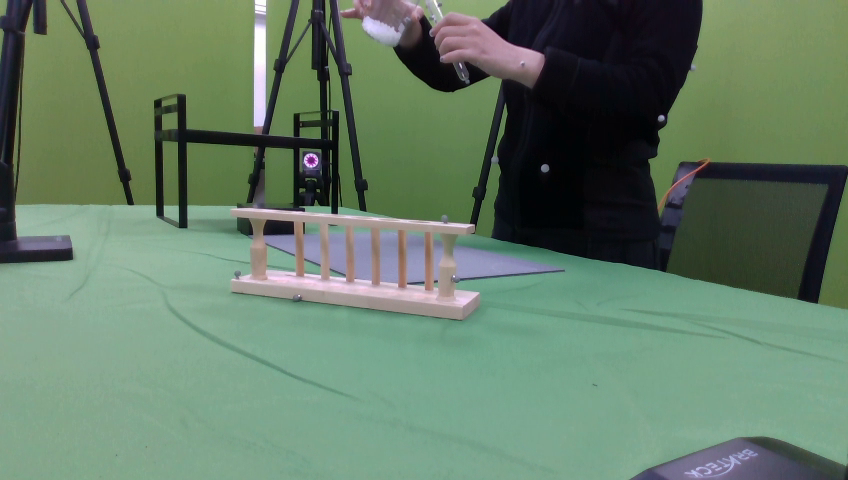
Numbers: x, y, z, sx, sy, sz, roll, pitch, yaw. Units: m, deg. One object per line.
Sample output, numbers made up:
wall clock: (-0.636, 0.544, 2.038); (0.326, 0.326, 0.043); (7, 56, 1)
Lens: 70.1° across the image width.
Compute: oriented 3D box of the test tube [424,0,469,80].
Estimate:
test tube: (0.033, -0.302, 0.902); (0.017, 0.150, 0.017); (-21, -15, -6)

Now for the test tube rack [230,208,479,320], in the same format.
test tube rack: (-0.069, 0.017, 0.598); (0.242, 0.085, 0.067); (5, 8, 18)

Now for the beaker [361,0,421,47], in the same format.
beaker: (-0.051, -0.369, 0.974); (0.074, 0.100, 0.083); (-4, 46, -46)
